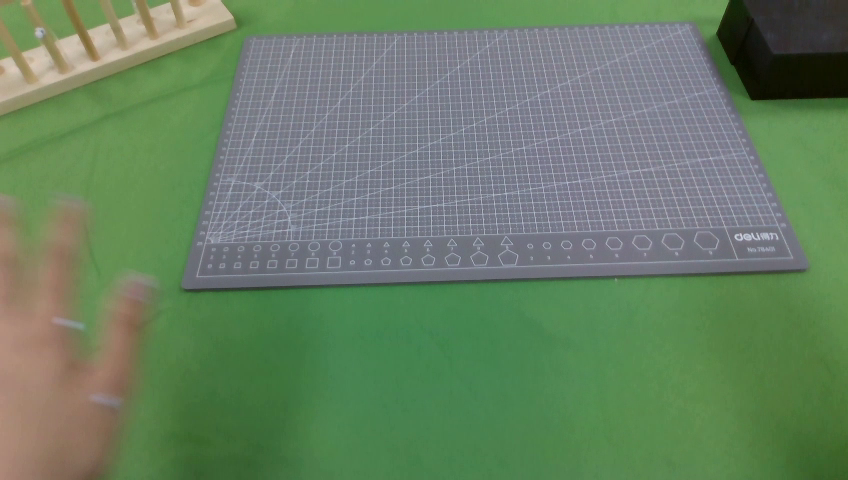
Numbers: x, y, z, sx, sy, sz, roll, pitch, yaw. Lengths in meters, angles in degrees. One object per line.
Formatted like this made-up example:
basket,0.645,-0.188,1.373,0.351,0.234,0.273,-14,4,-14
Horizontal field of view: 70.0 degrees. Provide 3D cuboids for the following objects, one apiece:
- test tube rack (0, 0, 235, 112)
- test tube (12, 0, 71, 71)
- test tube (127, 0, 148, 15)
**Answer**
test tube rack,-0.313,-0.211,0.565,0.242,0.086,0.066,-28,58,-18
test tube,-0.339,-0.207,0.507,0.017,0.152,0.017,-1,53,1
test tube,-0.284,-0.273,0.548,0.017,0.151,0.017,0,52,0
